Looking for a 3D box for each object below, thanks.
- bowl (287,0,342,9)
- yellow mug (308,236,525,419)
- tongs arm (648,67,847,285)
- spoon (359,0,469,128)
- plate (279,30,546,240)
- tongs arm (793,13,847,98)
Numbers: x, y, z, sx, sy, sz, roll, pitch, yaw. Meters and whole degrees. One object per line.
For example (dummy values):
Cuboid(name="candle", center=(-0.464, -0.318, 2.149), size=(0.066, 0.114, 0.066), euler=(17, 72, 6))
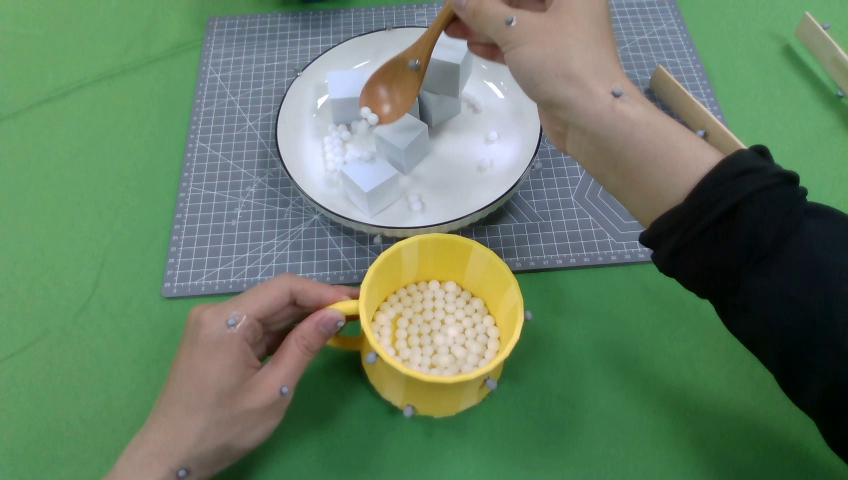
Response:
Cuboid(name="bowl", center=(-0.111, -0.281, 0.586), size=(0.151, 0.077, 0.150), euler=(-1, 59, 2))
Cuboid(name="yellow mug", center=(-0.007, 0.056, 0.382), size=(0.131, 0.064, 0.099), euler=(-2, 58, -7))
Cuboid(name="tongs arm", center=(0.296, 0.001, 0.433), size=(0.028, 0.028, 0.384), euler=(-27, 63, -17))
Cuboid(name="spoon", center=(0.017, -0.142, 0.387), size=(0.022, 0.194, 0.041), euler=(-12, 66, -47))
Cuboid(name="plate", center=(-0.009, -0.085, 0.487), size=(0.207, 0.039, 0.205), euler=(-1, 60, 2))
Cuboid(name="tongs arm", center=(0.371, -0.029, 0.445), size=(0.051, 0.027, 0.381), euler=(-17, 62, -8))
